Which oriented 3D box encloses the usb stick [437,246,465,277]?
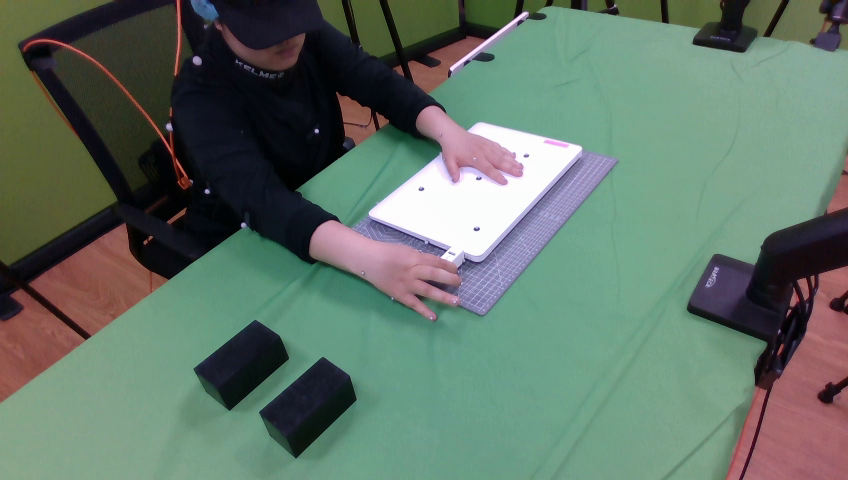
[{"bbox_3d":[0.045,0.028,0.911,0.021,0.027,0.059,25,43,28],"label":"usb stick"}]

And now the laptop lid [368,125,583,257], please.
[{"bbox_3d":[0.097,-0.104,1.066,0.239,0.013,0.358,22,47,34],"label":"laptop lid"}]

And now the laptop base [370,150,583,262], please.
[{"bbox_3d":[0.100,-0.096,1.071,0.233,0.023,0.355,19,47,33],"label":"laptop base"}]
